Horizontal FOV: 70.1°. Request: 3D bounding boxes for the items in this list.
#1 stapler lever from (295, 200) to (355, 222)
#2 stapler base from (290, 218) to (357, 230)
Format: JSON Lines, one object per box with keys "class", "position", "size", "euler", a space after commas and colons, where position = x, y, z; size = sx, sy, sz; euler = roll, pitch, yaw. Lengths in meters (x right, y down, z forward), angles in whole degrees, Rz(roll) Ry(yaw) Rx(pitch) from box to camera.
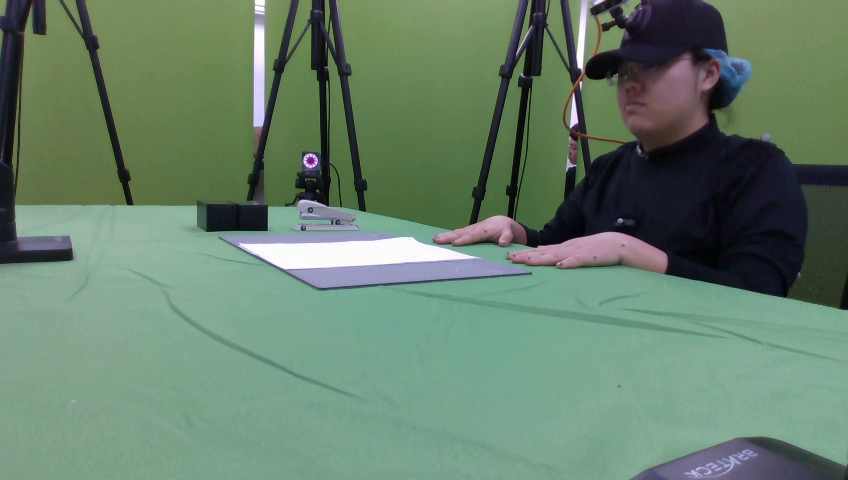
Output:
{"class": "stapler lever", "position": [-0.196, -0.058, 1.199], "size": [0.118, 0.040, 0.026], "euler": [2, 9, -25]}
{"class": "stapler base", "position": [-0.199, -0.033, 1.201], "size": [0.131, 0.024, 0.041], "euler": [2, 9, -25]}
